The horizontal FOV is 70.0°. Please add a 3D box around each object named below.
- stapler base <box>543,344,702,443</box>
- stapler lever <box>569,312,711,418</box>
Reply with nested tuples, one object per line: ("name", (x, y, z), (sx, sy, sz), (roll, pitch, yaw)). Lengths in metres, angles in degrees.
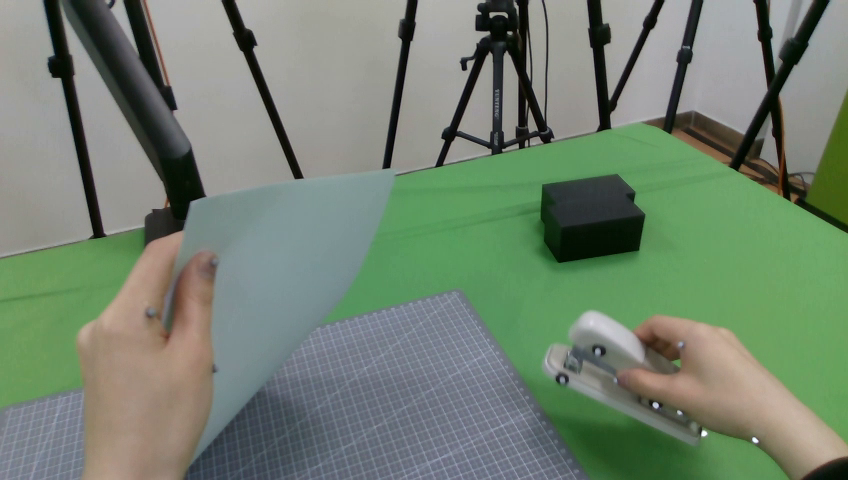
("stapler base", (0.162, 0.115, 0.483), (0.130, 0.024, 0.041), (24, 36, 10))
("stapler lever", (0.169, 0.094, 0.469), (0.117, 0.040, 0.026), (24, 36, 10))
